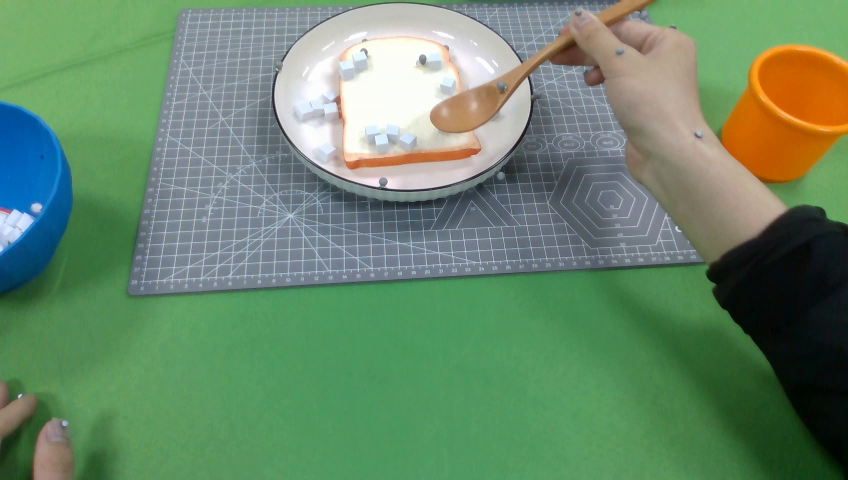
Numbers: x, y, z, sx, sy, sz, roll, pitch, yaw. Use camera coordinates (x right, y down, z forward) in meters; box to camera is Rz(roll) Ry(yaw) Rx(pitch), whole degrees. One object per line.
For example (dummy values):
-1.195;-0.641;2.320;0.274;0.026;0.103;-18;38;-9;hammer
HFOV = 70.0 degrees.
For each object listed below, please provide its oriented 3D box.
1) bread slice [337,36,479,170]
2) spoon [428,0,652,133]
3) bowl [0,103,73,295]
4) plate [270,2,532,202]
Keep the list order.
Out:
-0.022;-0.117;0.504;0.107;0.018;0.133;-10;61;-7;bread slice
0.088;-0.131;0.430;0.194;0.022;0.041;-32;49;10;spoon
-0.305;-0.012;0.407;0.151;0.077;0.150;1;59;-1;bowl
-0.019;-0.114;0.499;0.209;0.038;0.207;1;60;-1;plate
